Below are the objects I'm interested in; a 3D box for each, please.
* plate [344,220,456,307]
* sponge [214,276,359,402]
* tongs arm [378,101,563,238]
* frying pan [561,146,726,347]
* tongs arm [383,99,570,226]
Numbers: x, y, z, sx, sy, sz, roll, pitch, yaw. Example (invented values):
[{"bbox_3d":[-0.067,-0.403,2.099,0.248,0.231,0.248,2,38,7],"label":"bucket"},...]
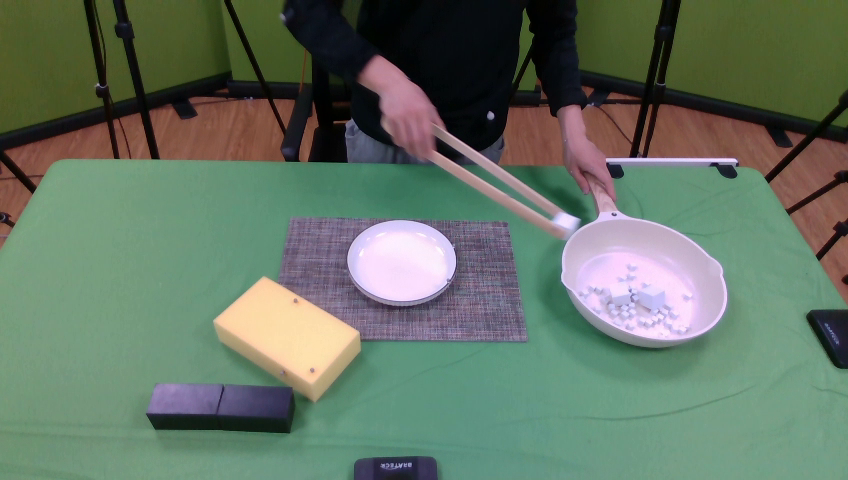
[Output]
[{"bbox_3d":[-0.044,0.047,1.133,0.208,0.039,0.206,3,46,-2],"label":"plate"},{"bbox_3d":[-0.225,0.158,0.998,0.206,0.061,0.118,27,52,18],"label":"sponge"},{"bbox_3d":[0.077,-0.124,1.051,0.384,0.026,0.050,31,59,5],"label":"tongs arm"},{"bbox_3d":[0.378,-0.005,1.175,0.307,0.103,0.484,-4,55,-9],"label":"frying pan"},{"bbox_3d":[0.090,-0.139,1.062,0.387,0.028,0.028,35,63,8],"label":"tongs arm"}]
